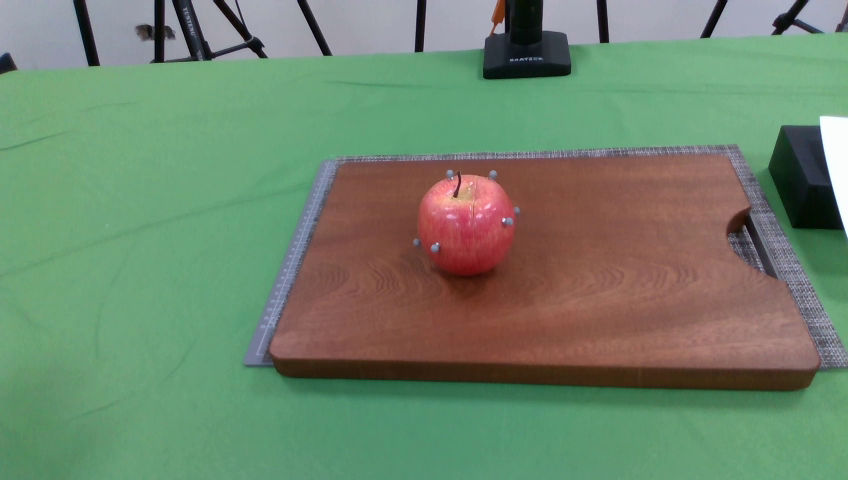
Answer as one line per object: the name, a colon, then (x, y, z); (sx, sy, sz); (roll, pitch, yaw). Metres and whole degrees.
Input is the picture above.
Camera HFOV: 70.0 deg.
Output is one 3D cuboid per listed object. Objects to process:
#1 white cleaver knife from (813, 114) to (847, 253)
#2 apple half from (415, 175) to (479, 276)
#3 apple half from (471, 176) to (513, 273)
white cleaver knife: (0.373, -0.002, 0.490); (0.065, 0.022, 0.284); (0, 53, 14)
apple half: (0.020, -0.011, 0.506); (0.053, 0.075, 0.080); (-3, 44, 11)
apple half: (0.058, -0.013, 0.499); (0.033, 0.082, 0.080); (-4, 41, 11)
